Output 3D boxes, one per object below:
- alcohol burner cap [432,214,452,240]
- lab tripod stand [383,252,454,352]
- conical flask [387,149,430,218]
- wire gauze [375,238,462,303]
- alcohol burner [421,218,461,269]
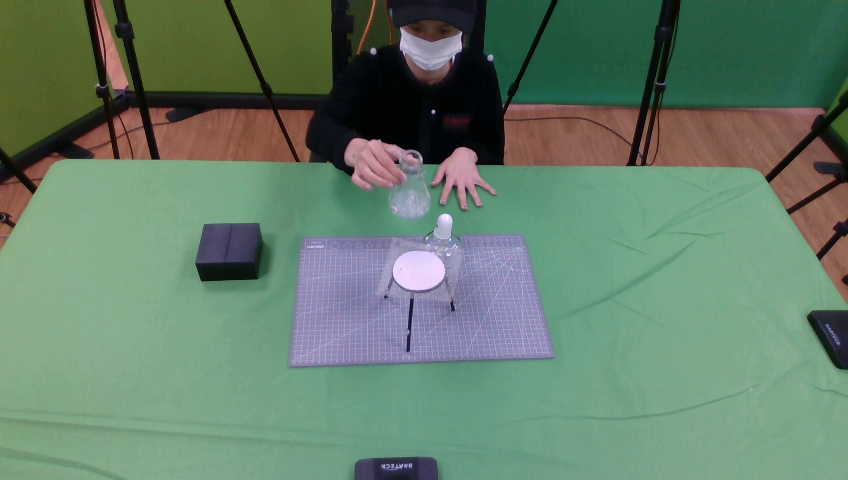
[{"bbox_3d":[0.035,-0.027,1.110,0.034,0.048,0.033,7,42,-6],"label":"alcohol burner cap"},{"bbox_3d":[-0.015,0.094,1.025,0.148,0.132,0.147,1,46,-1],"label":"lab tripod stand"},{"bbox_3d":[-0.024,-0.098,1.007,0.075,0.122,0.075,2,56,-2],"label":"conical flask"},{"bbox_3d":[-0.006,0.048,0.977,0.121,0.011,0.124,9,46,5],"label":"wire gauze"},{"bbox_3d":[0.033,-0.001,1.135,0.078,0.119,0.077,3,48,-3],"label":"alcohol burner"}]
